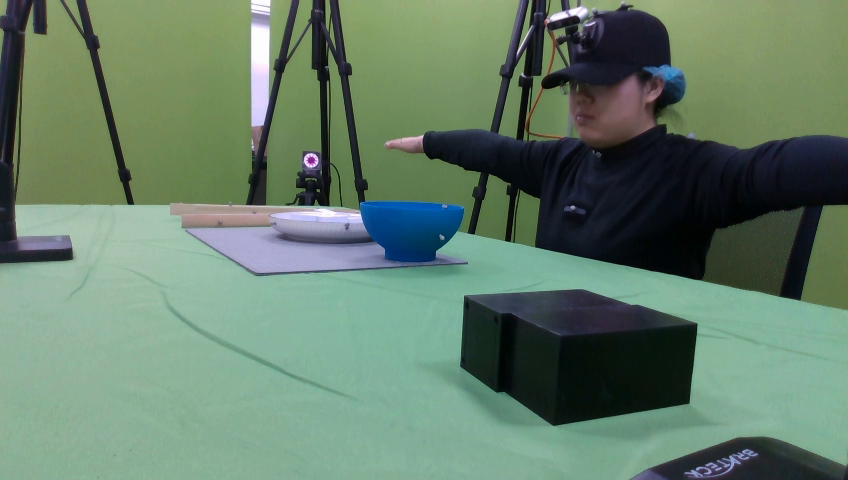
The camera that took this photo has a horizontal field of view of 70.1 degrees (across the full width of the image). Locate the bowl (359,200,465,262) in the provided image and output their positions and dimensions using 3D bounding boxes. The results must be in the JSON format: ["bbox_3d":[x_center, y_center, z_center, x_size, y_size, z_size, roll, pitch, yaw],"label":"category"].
[{"bbox_3d":[-0.018,-0.013,0.859,0.151,0.077,0.151,2,7,0],"label":"bowl"}]

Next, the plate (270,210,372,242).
[{"bbox_3d":[-0.161,-0.024,1.054,0.208,0.039,0.207,2,7,0],"label":"plate"}]

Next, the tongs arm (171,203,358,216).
[{"bbox_3d":[-0.331,-0.058,1.295,0.387,0.026,0.050,0,8,-25],"label":"tongs arm"}]

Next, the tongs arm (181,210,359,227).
[{"bbox_3d":[-0.291,-0.044,1.225,0.390,0.028,0.028,-3,6,-38],"label":"tongs arm"}]
